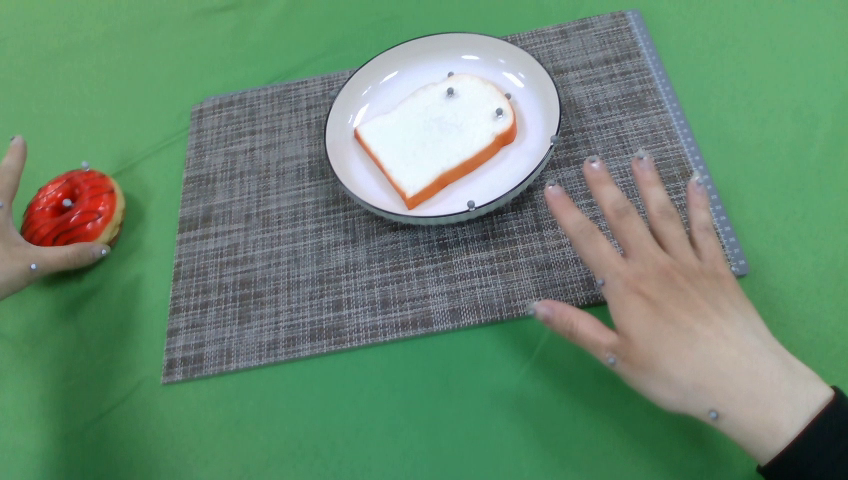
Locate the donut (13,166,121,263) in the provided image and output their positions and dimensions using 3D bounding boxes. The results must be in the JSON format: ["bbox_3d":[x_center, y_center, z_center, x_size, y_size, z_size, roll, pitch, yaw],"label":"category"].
[{"bbox_3d":[-0.329,-0.024,0.558,0.099,0.049,0.098,-5,61,10],"label":"donut"}]

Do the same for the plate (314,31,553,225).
[{"bbox_3d":[0.008,-0.098,0.536,0.207,0.039,0.206,-4,60,8],"label":"plate"}]

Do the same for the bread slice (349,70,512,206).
[{"bbox_3d":[0.009,-0.101,0.539,0.131,0.019,0.104,-34,61,-8],"label":"bread slice"}]
